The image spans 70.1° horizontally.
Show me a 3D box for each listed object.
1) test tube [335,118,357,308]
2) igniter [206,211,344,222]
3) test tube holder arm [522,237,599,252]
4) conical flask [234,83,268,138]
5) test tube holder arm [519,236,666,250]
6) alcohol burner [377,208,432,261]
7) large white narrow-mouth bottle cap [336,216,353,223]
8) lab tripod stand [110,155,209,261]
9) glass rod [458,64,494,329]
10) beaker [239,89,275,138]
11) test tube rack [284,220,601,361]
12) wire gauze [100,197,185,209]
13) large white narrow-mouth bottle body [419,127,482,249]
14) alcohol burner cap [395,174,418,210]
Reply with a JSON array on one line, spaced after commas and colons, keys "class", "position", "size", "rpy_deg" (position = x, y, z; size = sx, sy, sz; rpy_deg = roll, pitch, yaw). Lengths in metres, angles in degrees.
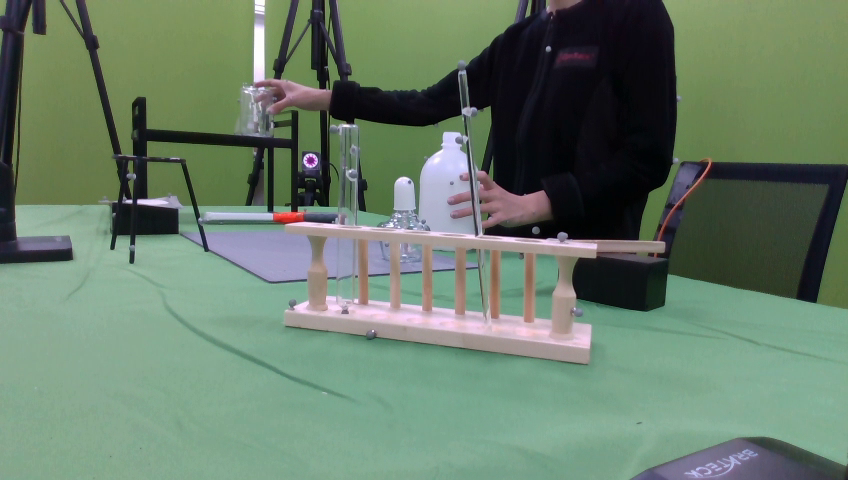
[{"class": "test tube", "position": [-0.061, -0.019, 0.476], "size": [0.017, 0.150, 0.017], "rpy_deg": [2, 11, 0]}, {"class": "igniter", "position": [-0.302, -0.048, 1.249], "size": [0.278, 0.025, 0.057], "rpy_deg": [-2, -2, -27]}, {"class": "test tube holder arm", "position": [0.144, 0.004, 0.635], "size": [0.088, 0.015, 0.010], "rpy_deg": [0, 14, -19]}, {"class": "conical flask", "position": [-0.399, -0.298, 1.396], "size": [0.075, 0.122, 0.075], "rpy_deg": [2, 8, 0]}, {"class": "test tube holder arm", "position": [0.186, 0.003, 0.655], "size": [0.179, 0.015, 0.013], "rpy_deg": [0, 14, -19]}, {"class": "alcohol burner", "position": [-0.027, -0.031, 0.838], "size": [0.078, 0.119, 0.078], "rpy_deg": [0, 6, 0]}, {"class": "large white narrow-mouth bottle cap", "position": [-0.161, -0.036, 1.231], "size": [0.038, 0.024, 0.037], "rpy_deg": [2, 8, 0]}, {"class": "lab tripod stand", "position": [-0.361, -0.046, 0.806], "size": [0.148, 0.131, 0.148], "rpy_deg": [2, 5, 0]}, {"class": "glass rod", "position": [0.040, -0.029, 0.449], "size": [0.008, 0.199, 0.008], "rpy_deg": [-7, 9, 1]}, {"class": "beaker", "position": [-0.361, -0.273, 1.308], "size": [0.074, 0.100, 0.084], "rpy_deg": [0, 8, -11]}, {"class": "test tube rack", "position": [0.013, 0.032, 0.482], "size": [0.242, 0.085, 0.067], "rpy_deg": [4, 7, 16]}, {"class": "wire gauze", "position": [-0.469, -0.062, 1.008], "size": [0.126, 0.011, 0.121], "rpy_deg": [-2, 8, -25]}, {"class": "large white narrow-mouth bottle body", "position": [0.045, -0.086, 0.996], "size": [0.102, 0.194, 0.102], "rpy_deg": [2, 8, 0]}, {"class": "alcohol burner cap", "position": [-0.026, -0.067, 0.833], "size": [0.034, 0.048, 0.034], "rpy_deg": [-1, 12, 1]}]
